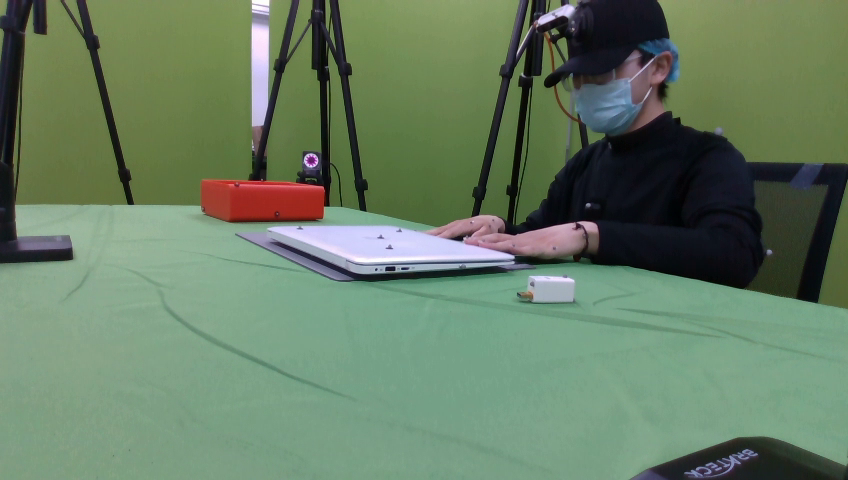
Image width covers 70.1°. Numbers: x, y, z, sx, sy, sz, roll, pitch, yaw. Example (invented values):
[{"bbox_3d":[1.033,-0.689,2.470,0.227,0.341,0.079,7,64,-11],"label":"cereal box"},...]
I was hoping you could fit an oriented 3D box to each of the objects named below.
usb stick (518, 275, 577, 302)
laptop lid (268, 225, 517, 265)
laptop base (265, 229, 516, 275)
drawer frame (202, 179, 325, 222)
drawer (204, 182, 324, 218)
[{"bbox_3d":[0.127,0.050,0.626,0.059,0.027,0.021,-2,10,-12],"label":"usb stick"},{"bbox_3d":[-0.063,0.000,0.876,0.243,0.013,0.355,0,8,-30],"label":"laptop lid"},{"bbox_3d":[-0.065,0.014,0.877,0.237,0.023,0.352,2,7,-32],"label":"laptop base"},{"bbox_3d":[-0.361,-0.092,1.356,0.215,0.082,0.200,-4,10,-37],"label":"drawer frame"},{"bbox_3d":[-0.360,-0.091,1.358,0.213,0.073,0.193,-4,10,-36],"label":"drawer"}]
